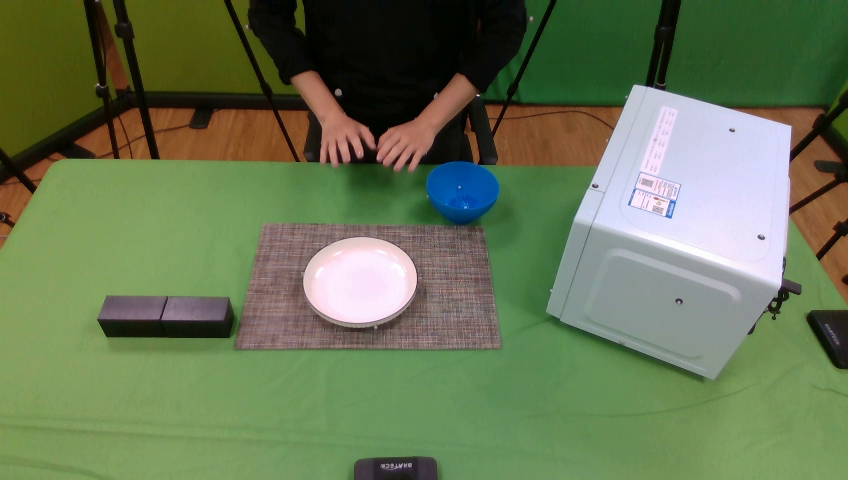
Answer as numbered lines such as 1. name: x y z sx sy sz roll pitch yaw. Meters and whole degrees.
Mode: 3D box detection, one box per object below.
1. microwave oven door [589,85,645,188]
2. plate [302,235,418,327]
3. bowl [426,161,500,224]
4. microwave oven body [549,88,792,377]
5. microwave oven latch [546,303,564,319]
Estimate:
1. microwave oven door: 0.341 -0.107 1.149 0.039 0.245 0.354 20 48 15
2. plate: -0.114 0.077 1.098 0.208 0.039 0.206 2 46 -2
3. bowl: 0.077 -0.086 1.248 0.151 0.077 0.150 2 46 -2
4. microwave oven body: 0.456 -0.028 1.088 0.325 0.261 0.440 20 47 16
5. microwave oven latch: 0.242 0.102 1.081 0.030 0.029 0.079 21 48 17
